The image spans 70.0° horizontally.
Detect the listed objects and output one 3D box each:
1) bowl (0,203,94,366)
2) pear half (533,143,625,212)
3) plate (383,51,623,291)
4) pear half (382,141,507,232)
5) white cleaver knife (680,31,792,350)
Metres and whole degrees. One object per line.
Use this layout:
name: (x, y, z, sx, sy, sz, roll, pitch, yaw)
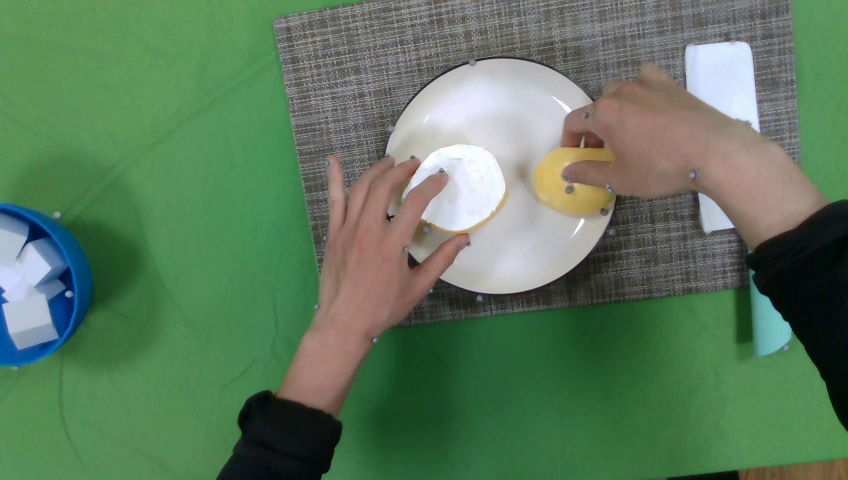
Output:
bowl: (-0.374, 0.036, 0.575, 0.151, 0.076, 0.151, 1, 99, 5)
pear half: (0.129, -0.047, 0.510, 0.071, 0.088, 0.031, 31, 57, -20)
plate: (0.068, -0.059, 0.542, 0.207, 0.039, 0.208, 1, 99, 5)
pear half: (0.015, -0.040, 0.530, 0.110, 0.056, 0.076, -20, 83, 10)
white cleaver knife: (0.277, -0.041, 0.541, 0.066, 0.021, 0.286, -10, 95, 14)
